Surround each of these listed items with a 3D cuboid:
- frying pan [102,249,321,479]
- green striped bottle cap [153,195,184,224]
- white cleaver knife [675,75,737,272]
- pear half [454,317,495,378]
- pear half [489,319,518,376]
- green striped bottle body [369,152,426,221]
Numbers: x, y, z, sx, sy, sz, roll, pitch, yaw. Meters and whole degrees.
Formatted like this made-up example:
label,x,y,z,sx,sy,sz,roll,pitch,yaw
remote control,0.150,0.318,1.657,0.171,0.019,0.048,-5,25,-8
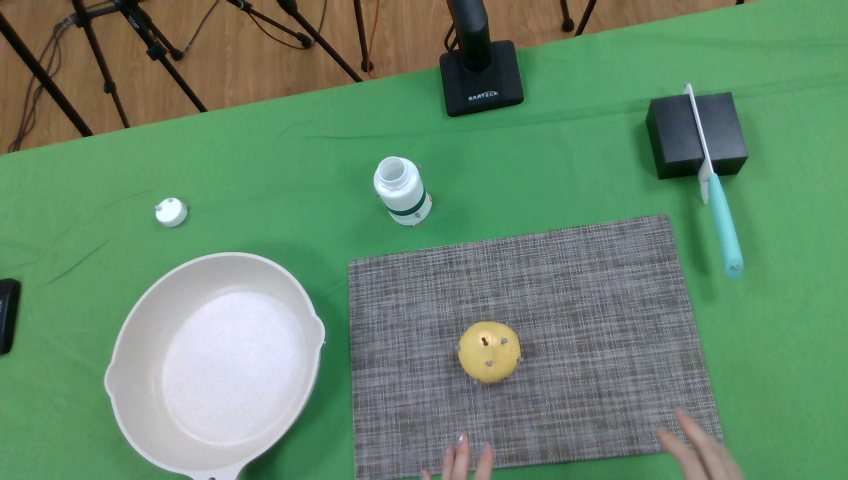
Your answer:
label,x,y,z,sx,sy,sz,roll,pitch,yaw
frying pan,-0.262,0.246,0.770,0.307,0.104,0.483,-13,60,6
green striped bottle cap,-0.401,-0.048,0.951,0.044,0.020,0.044,-4,69,10
white cleaver knife,0.369,-0.092,0.800,0.021,0.066,0.284,-9,66,15
pear half,0.063,0.129,0.748,0.056,0.111,0.075,-4,64,9
pear half,0.100,0.131,0.750,0.031,0.089,0.070,-5,65,10
green striped bottle body,-0.038,-0.076,0.840,0.063,0.120,0.062,-3,68,9
